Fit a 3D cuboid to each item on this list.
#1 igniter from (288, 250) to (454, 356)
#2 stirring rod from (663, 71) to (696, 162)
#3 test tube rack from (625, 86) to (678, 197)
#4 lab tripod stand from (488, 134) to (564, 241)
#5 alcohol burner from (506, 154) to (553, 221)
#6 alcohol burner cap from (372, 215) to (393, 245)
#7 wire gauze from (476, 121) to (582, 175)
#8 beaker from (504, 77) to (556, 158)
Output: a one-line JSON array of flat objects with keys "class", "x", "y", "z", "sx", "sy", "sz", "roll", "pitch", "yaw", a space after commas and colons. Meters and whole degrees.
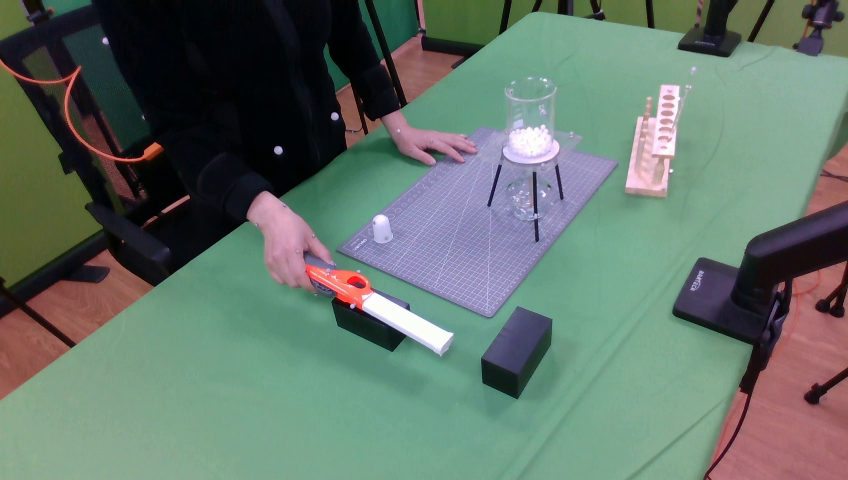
[{"class": "igniter", "x": -0.082, "y": 0.078, "z": 0.814, "sx": 0.274, "sy": 0.025, "sz": 0.057, "roll": 26, "pitch": 46, "yaw": 25}, {"class": "stirring rod", "x": 0.410, "y": -0.196, "z": 0.981, "sx": 0.014, "sy": 0.177, "sz": 0.006, "roll": 12, "pitch": 50, "yaw": 13}, {"class": "test tube rack", "x": 0.412, "y": -0.184, "z": 1.088, "sx": 0.066, "sy": 0.085, "sz": 0.242, "roll": 9, "pitch": 43, "yaw": 18}, {"class": "lab tripod stand", "x": 0.168, "y": -0.092, "z": 0.972, "sx": 0.148, "sy": 0.132, "sz": 0.147, "roll": -5, "pitch": 41, "yaw": 5}, {"class": "alcohol burner", "x": 0.171, "y": -0.090, "z": 0.984, "sx": 0.078, "sy": 0.119, "sz": 0.077, "roll": -5, "pitch": 42, "yaw": 5}, {"class": "alcohol burner cap", "x": -0.070, "y": -0.019, "z": 0.990, "sx": 0.034, "sy": 0.048, "sz": 0.033, "roll": -4, "pitch": 41, "yaw": 4}, {"class": "wire gauze", "x": 0.162, "y": -0.142, "z": 0.929, "sx": 0.120, "sy": 0.011, "sz": 0.125, "roll": 19, "pitch": 49, "yaw": 32}, {"class": "beaker", "x": 0.160, "y": -0.181, "z": 0.900, "sx": 0.084, "sy": 0.101, "sz": 0.073, "roll": -33, "pitch": 46, "yaw": -27}]
